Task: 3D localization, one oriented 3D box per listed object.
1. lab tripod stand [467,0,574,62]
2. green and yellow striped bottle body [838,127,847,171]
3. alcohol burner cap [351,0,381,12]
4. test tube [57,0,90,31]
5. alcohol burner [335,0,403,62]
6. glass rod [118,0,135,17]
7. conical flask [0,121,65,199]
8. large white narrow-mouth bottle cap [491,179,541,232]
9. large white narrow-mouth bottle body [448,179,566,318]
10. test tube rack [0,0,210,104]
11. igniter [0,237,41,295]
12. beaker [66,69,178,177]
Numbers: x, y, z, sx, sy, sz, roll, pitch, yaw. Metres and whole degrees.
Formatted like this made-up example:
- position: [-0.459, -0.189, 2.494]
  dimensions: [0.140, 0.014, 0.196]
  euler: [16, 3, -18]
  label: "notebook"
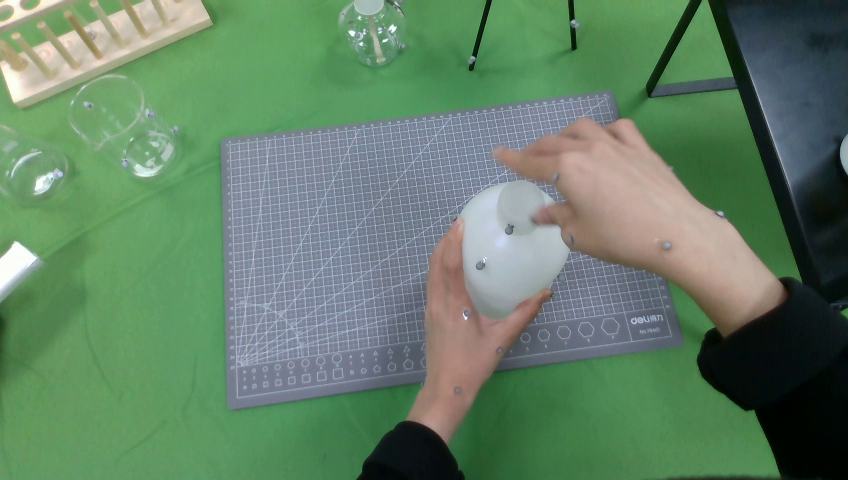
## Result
- position: [0.107, -0.277, 0.669]
  dimensions: [0.148, 0.132, 0.147]
  euler: [0, 69, 0]
  label: "lab tripod stand"
- position: [0.351, -0.086, 0.415]
  dimensions: [0.063, 0.120, 0.063]
  euler: [0, 70, 1]
  label: "green and yellow striped bottle body"
- position: [-0.064, -0.270, 0.641]
  dimensions: [0.034, 0.048, 0.033]
  euler: [0, 69, 0]
  label: "alcohol burner cap"
- position: [-0.406, -0.279, 0.648]
  dimensions: [0.017, 0.151, 0.017]
  euler: [-2, 67, 5]
  label: "test tube"
- position: [-0.062, -0.256, 0.675]
  dimensions: [0.078, 0.120, 0.077]
  euler: [0, 68, 0]
  label: "alcohol burner"
- position: [-0.365, -0.312, 0.642]
  dimensions: [0.008, 0.201, 0.008]
  euler: [-3, 64, 7]
  label: "glass rod"
- position: [-0.435, -0.098, 0.617]
  dimensions: [0.075, 0.122, 0.075]
  euler: [0, 70, 1]
  label: "conical flask"
- position: [0.069, -0.025, 0.450]
  dimensions: [0.038, 0.024, 0.037]
  euler: [0, 72, 1]
  label: "large white narrow-mouth bottle cap"
- position: [0.072, 0.003, 0.536]
  dimensions: [0.102, 0.196, 0.101]
  euler: [0, 71, 1]
  label: "large white narrow-mouth bottle body"
- position: [-0.382, -0.253, 0.691]
  dimensions: [0.242, 0.086, 0.066]
  euler: [-28, 72, -9]
  label: "test tube rack"
- position: [-0.467, 0.108, 0.545]
  dimensions: [0.057, 0.025, 0.276]
  euler: [35, 71, 10]
  label: "igniter"
- position: [-0.311, -0.115, 0.635]
  dimensions: [0.074, 0.101, 0.083]
  euler: [7, 71, 4]
  label: "beaker"
